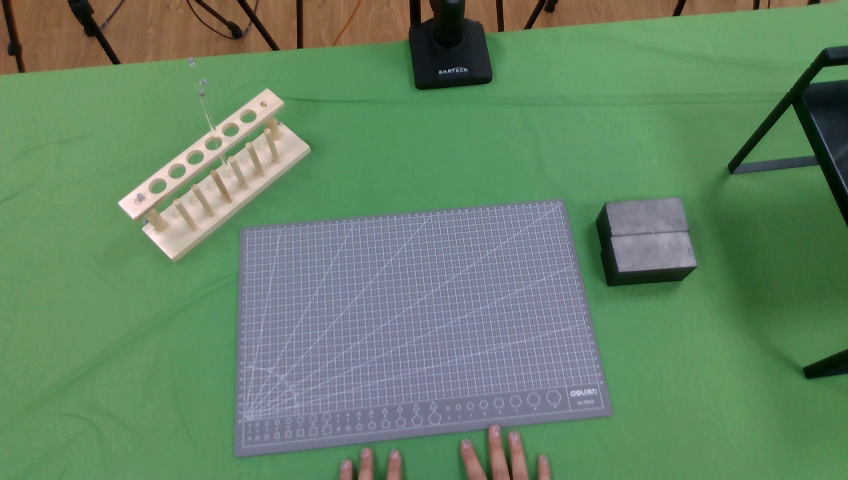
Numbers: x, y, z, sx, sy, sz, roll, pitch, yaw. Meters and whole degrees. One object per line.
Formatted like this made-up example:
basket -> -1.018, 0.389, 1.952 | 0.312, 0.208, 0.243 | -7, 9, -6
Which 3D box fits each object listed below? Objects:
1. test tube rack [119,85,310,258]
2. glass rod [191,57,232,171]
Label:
test tube rack -> -0.271, -0.093, 0.813 | 0.066, 0.086, 0.242 | 41, 72, 16
glass rod -> -0.266, -0.152, 0.768 | 0.008, 0.201, 0.008 | 2, 58, -3
